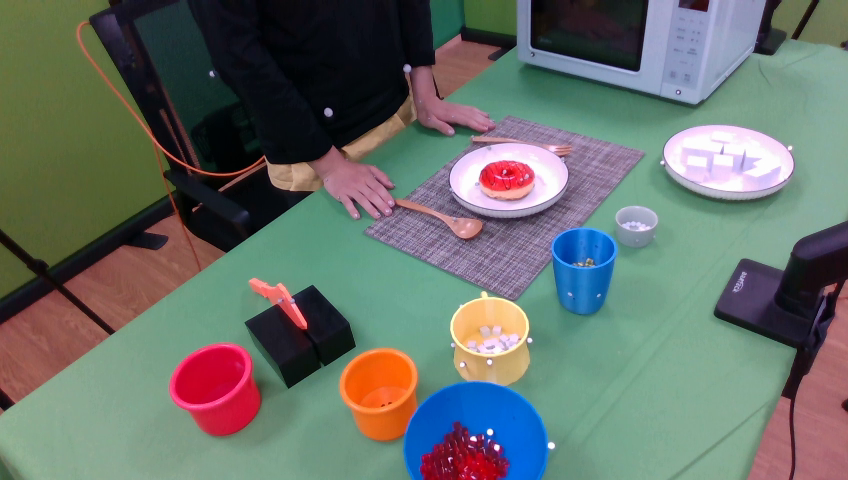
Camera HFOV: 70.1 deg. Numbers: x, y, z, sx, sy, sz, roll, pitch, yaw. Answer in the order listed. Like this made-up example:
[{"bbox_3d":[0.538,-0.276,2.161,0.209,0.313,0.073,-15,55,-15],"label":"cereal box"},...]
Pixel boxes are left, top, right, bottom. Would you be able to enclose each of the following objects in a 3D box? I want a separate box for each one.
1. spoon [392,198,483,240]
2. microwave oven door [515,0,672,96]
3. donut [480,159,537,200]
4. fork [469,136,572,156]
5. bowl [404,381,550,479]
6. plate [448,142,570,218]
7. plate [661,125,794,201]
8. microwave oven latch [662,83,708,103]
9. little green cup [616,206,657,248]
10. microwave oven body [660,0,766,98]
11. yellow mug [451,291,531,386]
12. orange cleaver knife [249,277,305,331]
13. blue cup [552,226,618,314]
[{"bbox_3d":[0.018,-0.042,1.016,0.192,0.022,0.041,24,75,31],"label":"spoon"},{"bbox_3d":[0.344,-0.455,1.260,0.353,0.245,0.039,26,51,33],"label":"microwave oven door"},{"bbox_3d":[0.145,-0.106,1.042,0.099,0.048,0.098,-4,38,4],"label":"donut"},{"bbox_3d":[0.182,-0.184,1.160,0.206,0.019,0.028,13,61,21],"label":"fork"},{"bbox_3d":[0.058,0.235,0.645,0.151,0.077,0.150,-4,39,4],"label":"bowl"},{"bbox_3d":[0.148,-0.101,1.053,0.209,0.038,0.208,-4,40,4],"label":"plate"},{"bbox_3d":[0.513,-0.128,1.035,0.207,0.039,0.206,-4,40,4],"label":"plate"},{"bbox_3d":[0.517,-0.296,1.204,0.078,0.029,0.030,27,52,35],"label":"microwave oven latch"},{"bbox_3d":[0.327,-0.019,0.935,0.061,0.039,0.061,-4,40,4],"label":"little green cup"},{"bbox_3d":[0.473,-0.513,1.317,0.438,0.261,0.327,26,51,34],"label":"microwave oven body"},{"bbox_3d":[0.085,0.120,0.786,0.100,0.064,0.130,-6,39,1],"label":"yellow mug"},{"bbox_3d":[-0.210,0.088,0.856,0.012,0.077,0.210,-28,15,-25],"label":"orange cleaver knife"},{"bbox_3d":[0.218,0.047,0.826,0.092,0.100,0.092,-6,40,5],"label":"blue cup"}]
